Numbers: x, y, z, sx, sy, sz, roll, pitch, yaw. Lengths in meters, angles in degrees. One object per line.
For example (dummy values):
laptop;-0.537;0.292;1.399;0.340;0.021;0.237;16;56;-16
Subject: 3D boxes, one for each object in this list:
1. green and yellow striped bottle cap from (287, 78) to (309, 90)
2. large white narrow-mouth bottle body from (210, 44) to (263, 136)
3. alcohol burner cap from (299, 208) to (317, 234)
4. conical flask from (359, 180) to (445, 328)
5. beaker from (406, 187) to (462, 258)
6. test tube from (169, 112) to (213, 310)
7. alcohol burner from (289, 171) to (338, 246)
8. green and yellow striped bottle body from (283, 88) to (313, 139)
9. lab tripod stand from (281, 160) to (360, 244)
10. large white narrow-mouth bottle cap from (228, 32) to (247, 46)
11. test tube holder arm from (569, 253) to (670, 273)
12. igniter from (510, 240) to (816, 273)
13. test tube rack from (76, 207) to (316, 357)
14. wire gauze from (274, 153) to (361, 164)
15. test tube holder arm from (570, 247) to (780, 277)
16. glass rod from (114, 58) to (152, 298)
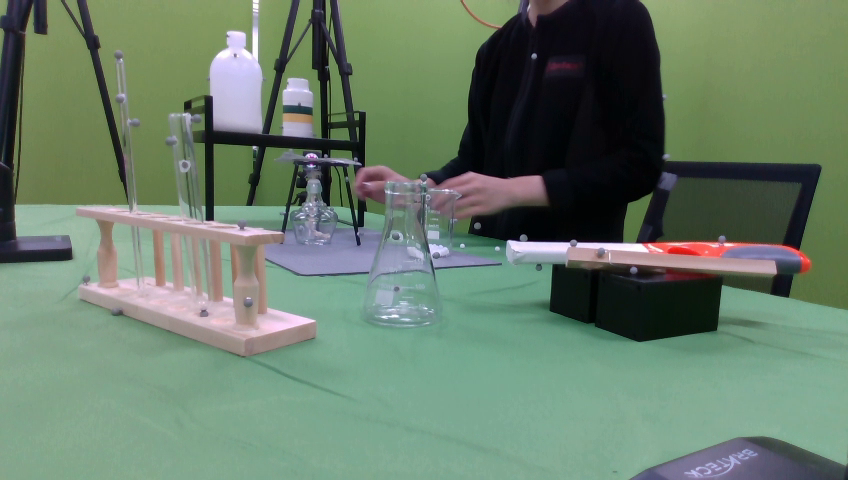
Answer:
green and yellow striped bottle cap;-0.265;-0.326;1.268;0.045;0.020;0.045;4;6;0
large white narrow-mouth bottle body;-0.369;-0.306;1.194;0.102;0.194;0.102;3;8;0
alcohol burner cap;-0.213;-0.035;1.110;0.034;0.048;0.034;2;7;0
conical flask;-0.017;0.010;0.522;0.075;0.122;0.075;2;7;0
beaker;0.013;-0.026;0.893;0.084;0.100;0.074;3;8;-2
test tube;-0.175;-0.020;0.455;0.017;0.150;0.017;-3;9;1
alcohol burner;-0.177;-0.051;0.968;0.078;0.119;0.078;0;6;0
green and yellow striped bottle body;-0.266;-0.275;1.275;0.063;0.119;0.063;3;7;0
lab tripod stand;-0.170;-0.063;0.983;0.148;0.131;0.148;1;7;0
large white narrow-mouth bottle cap;-0.364;-0.391;1.180;0.038;0.024;0.037;3;8;0
test tube holder arm;0.172;0.019;0.532;0.088;0.015;0.010;3;-23;3
igniter;0.220;0.015;0.565;0.277;0.025;0.057;2;16;0
test tube rack;-0.196;0.023;0.500;0.241;0.085;0.067;8;9;36
wire gauze;-0.175;-0.130;0.978;0.125;0.011;0.121;1;6;-19
test tube holder arm;0.217;0.019;0.525;0.178;0.015;0.013;3;-23;3
glass rod;-0.236;-0.044;0.492;0.008;0.199;0.008;0;15;0
